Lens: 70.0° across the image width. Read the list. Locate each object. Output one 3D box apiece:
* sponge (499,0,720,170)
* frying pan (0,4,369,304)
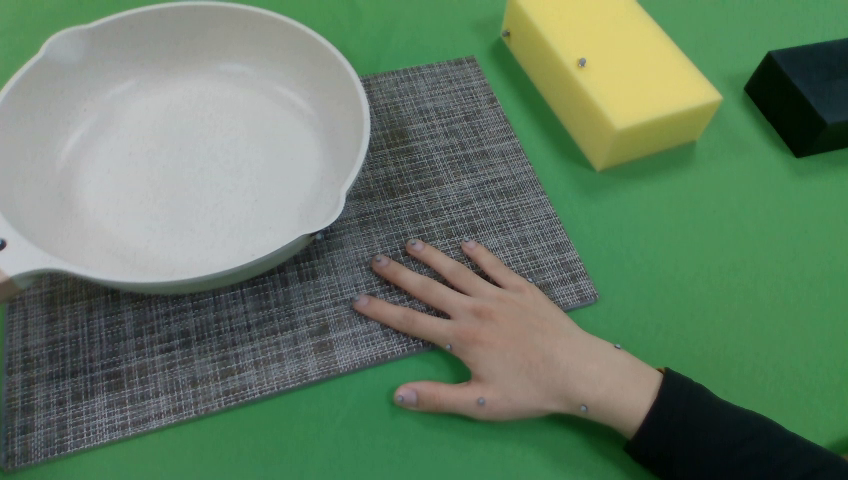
[{"bbox_3d":[0.176,-0.178,0.609,0.118,0.061,0.205,-19,62,-15],"label":"sponge"},{"bbox_3d":[-0.251,-0.019,0.440,0.305,0.103,0.487,33,52,16],"label":"frying pan"}]
